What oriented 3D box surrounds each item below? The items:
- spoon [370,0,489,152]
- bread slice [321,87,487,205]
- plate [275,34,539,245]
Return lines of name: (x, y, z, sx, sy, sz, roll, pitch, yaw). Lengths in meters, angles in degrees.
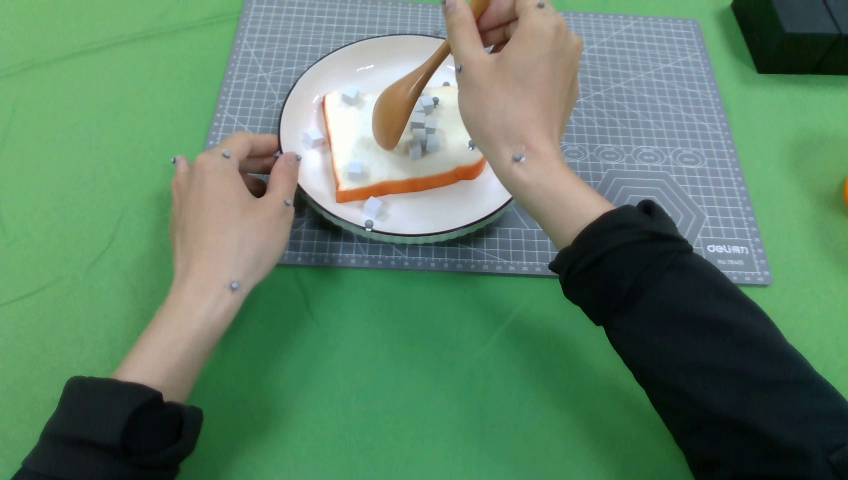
spoon: (0.012, -0.133, 0.414, 0.022, 0.194, 0.041, 6, 49, -43)
bread slice: (-0.015, -0.085, 0.497, 0.132, 0.019, 0.104, -11, 62, -8)
plate: (-0.013, -0.082, 0.491, 0.209, 0.038, 0.207, 2, 60, -2)
